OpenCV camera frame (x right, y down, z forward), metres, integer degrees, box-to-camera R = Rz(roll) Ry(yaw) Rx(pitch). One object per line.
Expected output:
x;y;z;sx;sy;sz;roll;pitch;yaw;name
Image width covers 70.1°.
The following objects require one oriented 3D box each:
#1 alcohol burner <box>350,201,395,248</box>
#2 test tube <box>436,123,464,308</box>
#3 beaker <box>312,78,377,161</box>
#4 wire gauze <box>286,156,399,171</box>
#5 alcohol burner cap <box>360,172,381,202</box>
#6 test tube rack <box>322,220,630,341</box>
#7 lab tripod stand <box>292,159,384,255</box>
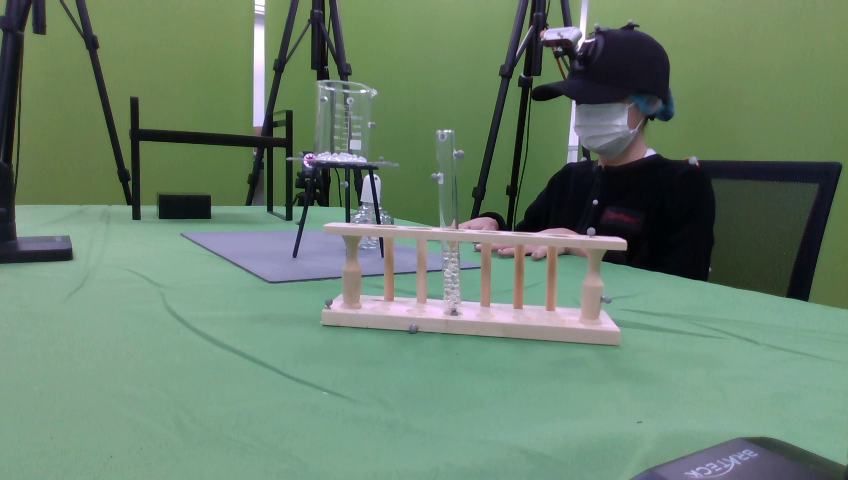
-0.084;-0.048;0.953;0.078;0.119;0.078;1;6;0;alcohol burner
0.021;-0.018;0.490;0.017;0.150;0.017;-3;7;1;test tube
-0.103;-0.151;0.775;0.084;0.100;0.074;5;7;14;beaker
-0.101;-0.103;0.788;0.121;0.011;0.125;5;4;6;wire gauze
-0.081;-0.084;0.949;0.034;0.048;0.034;7;7;-1;alcohol burner cap
0.041;0.029;0.512;0.242;0.085;0.067;3;7;5;test tube rack
-0.105;-0.039;0.797;0.148;0.131;0.148;2;5;0;lab tripod stand
